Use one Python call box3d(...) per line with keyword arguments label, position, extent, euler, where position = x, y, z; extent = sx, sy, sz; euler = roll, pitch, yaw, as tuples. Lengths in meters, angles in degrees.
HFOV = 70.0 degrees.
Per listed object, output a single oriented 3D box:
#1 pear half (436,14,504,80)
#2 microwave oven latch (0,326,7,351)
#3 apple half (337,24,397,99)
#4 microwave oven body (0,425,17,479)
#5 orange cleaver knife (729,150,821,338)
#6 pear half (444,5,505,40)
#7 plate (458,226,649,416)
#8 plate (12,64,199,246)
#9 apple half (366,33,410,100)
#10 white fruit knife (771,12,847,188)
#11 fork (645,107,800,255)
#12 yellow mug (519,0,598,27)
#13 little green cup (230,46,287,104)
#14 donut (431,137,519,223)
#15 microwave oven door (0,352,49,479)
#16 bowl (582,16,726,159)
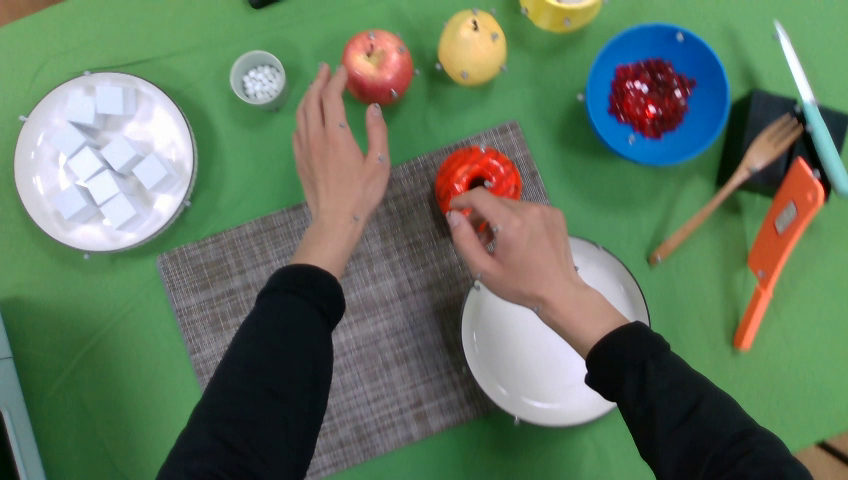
box3d(label="pear half", position=(0.048, -0.210, 0.661), extent=(0.076, 0.110, 0.056), euler=(11, 86, 6))
box3d(label="microwave oven latch", position=(-0.492, 0.088, 0.670), extent=(0.030, 0.029, 0.079), euler=(-16, 87, -1))
box3d(label="apple half", position=(-0.068, -0.205, 0.681), extent=(0.053, 0.075, 0.081), euler=(29, 91, 6))
box3d(label="microwave oven body", position=(-0.578, 0.296, 0.564), extent=(0.326, 0.260, 0.441), euler=(-19, 87, -1))
box3d(label="orange cleaver knife", position=(0.372, 0.008, 0.659), extent=(0.012, 0.076, 0.212), euler=(10, 116, 0))
box3d(label="pear half", position=(0.058, -0.244, 0.673), extent=(0.070, 0.088, 0.031), euler=(10, 87, 6))
box3d(label="plate", position=(0.141, 0.088, 0.676), extent=(0.209, 0.038, 0.208), euler=(0, 87, 1))
box3d(label="plate", position=(-0.359, -0.095, 0.697), extent=(0.208, 0.039, 0.207), euler=(0, 87, 1))
box3d(label="apple half", position=(-0.034, -0.187, 0.678), extent=(0.033, 0.081, 0.081), euler=(28, 87, 6))
box3d(label="white fruit knife", position=(0.413, -0.151, 0.651), extent=(0.027, 0.016, 0.207), euler=(-17, 84, -29))
box3d(label="fork", position=(0.318, -0.059, 0.661), extent=(0.028, 0.018, 0.207), euler=(39, 108, -3))
box3d(label="yellow mug", position=(0.145, -0.313, 0.687), extent=(0.130, 0.064, 0.100), euler=(36, 89, 4))
box3d(label="little green cup", position=(-0.188, -0.187, 0.699), extent=(0.061, 0.038, 0.061), euler=(0, 87, 1))
box3d(label="donut", position=(0.057, -0.067, 0.682), extent=(0.099, 0.048, 0.099), euler=(0, 88, 3))
box3d(label="microwave oven door", position=(-0.426, 0.290, 0.557), extent=(0.039, 0.244, 0.355), euler=(-19, 86, 0))
box3d(label="bowl", position=(0.243, -0.159, 0.672), extent=(0.151, 0.077, 0.151), euler=(0, 88, 1))
